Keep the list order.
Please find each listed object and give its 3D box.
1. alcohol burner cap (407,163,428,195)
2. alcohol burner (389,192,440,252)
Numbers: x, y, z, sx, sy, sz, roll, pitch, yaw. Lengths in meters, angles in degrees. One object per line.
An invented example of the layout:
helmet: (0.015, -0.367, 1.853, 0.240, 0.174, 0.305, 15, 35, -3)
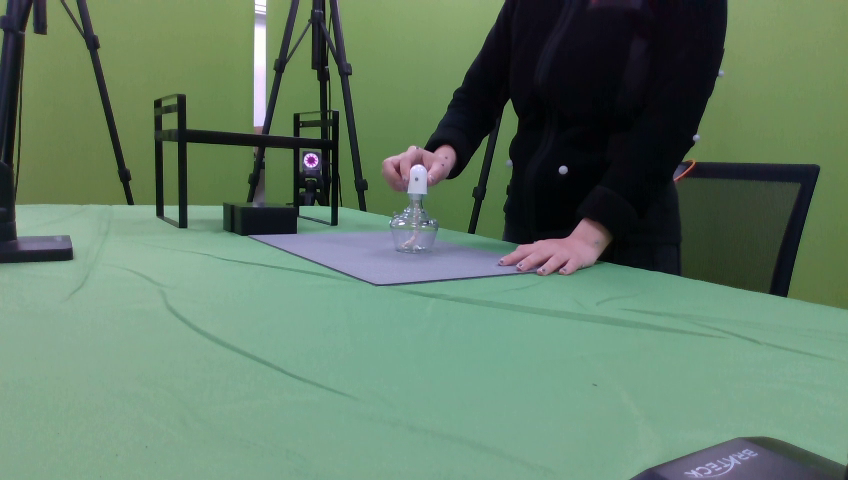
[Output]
alcohol burner cap: (-0.010, -0.093, 0.924, 0.034, 0.048, 0.034, 2, 3, 0)
alcohol burner: (-0.013, -0.041, 0.930, 0.078, 0.119, 0.078, 4, 8, 0)
